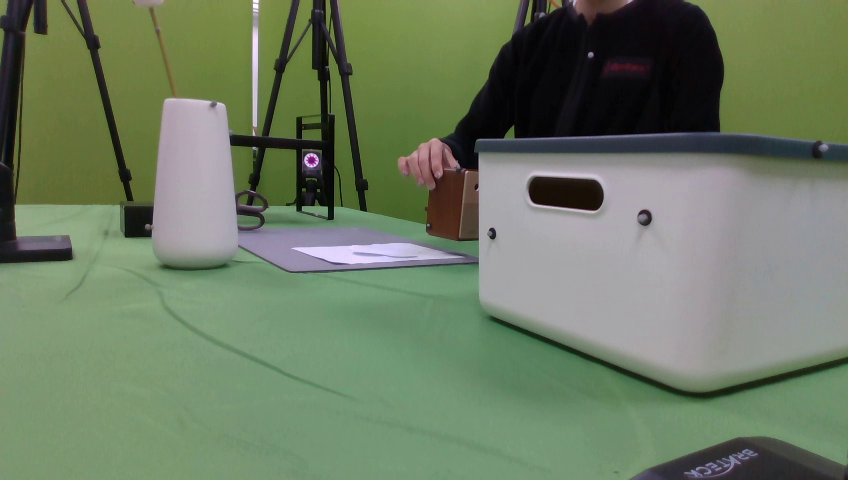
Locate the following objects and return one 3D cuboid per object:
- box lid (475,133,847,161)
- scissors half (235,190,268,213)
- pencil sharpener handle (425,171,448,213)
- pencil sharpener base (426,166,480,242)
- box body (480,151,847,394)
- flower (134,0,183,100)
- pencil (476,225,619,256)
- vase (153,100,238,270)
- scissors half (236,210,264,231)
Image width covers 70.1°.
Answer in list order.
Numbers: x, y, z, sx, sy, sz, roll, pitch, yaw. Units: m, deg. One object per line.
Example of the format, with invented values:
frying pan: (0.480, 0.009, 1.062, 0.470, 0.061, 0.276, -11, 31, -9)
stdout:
box lid: (0.255, -0.073, 0.528, 0.373, 0.015, 0.262, -2, 8, -31)
scissors half: (-0.363, -0.070, 1.060, 0.176, 0.040, 0.013, 0, 16, -23)
pencil sharpener handle: (0.015, -0.076, 0.947, 0.030, 0.067, 0.036, 12, 16, 43)
pencil sharpener base: (0.049, -0.056, 0.913, 0.076, 0.107, 0.062, 12, 11, 43)
box body: (0.254, 0.002, 0.539, 0.366, 0.160, 0.253, -2, 8, -31)
flower: (-0.282, -0.147, 0.713, 0.038, 0.362, 0.044, -23, 24, -31)
pencil: (0.164, -0.002, 0.819, 0.193, 0.012, 0.012, 11, 9, 14)
vase: (-0.278, -0.066, 0.736, 0.098, 0.200, 0.098, 2, 9, 0)
scissors half: (-0.369, -0.051, 1.065, 0.176, 0.040, 0.012, 19, 13, -27)
